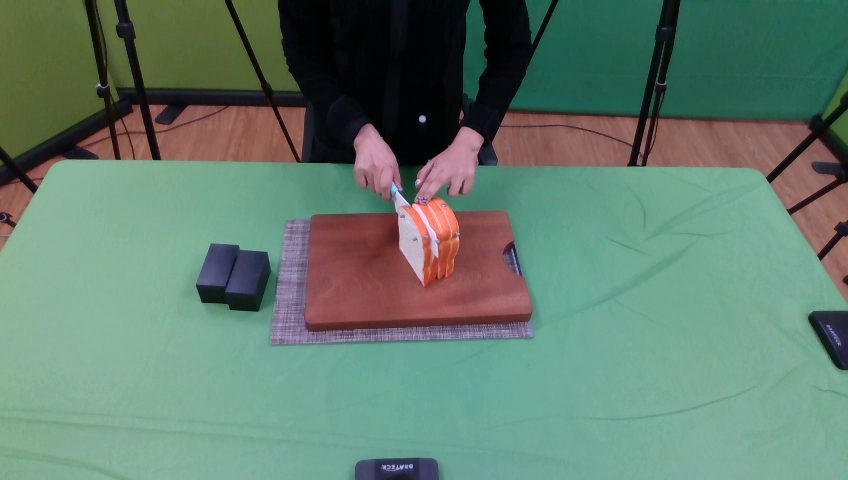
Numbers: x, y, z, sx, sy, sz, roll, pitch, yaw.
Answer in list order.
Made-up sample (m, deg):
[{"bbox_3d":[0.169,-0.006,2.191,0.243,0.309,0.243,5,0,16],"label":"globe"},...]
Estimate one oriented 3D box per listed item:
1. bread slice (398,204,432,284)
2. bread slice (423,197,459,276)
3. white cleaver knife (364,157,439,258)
[{"bbox_3d":[-0.017,0.000,1.082,0.018,0.135,0.106,-24,48,-18],"label":"bread slice"},{"bbox_3d":[0.030,-0.012,1.099,0.019,0.132,0.104,-16,51,-24],"label":"bread slice"},{"bbox_3d":[-0.047,-0.064,1.108,0.021,0.066,0.284,-19,44,-21],"label":"white cleaver knife"}]
